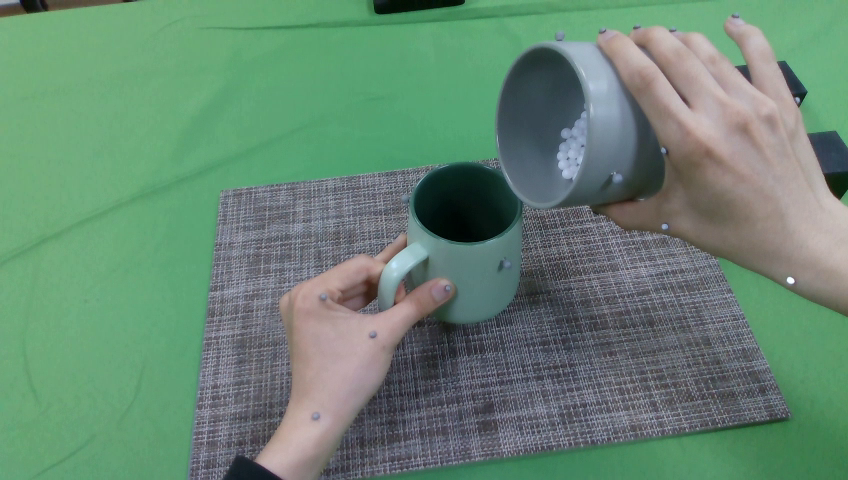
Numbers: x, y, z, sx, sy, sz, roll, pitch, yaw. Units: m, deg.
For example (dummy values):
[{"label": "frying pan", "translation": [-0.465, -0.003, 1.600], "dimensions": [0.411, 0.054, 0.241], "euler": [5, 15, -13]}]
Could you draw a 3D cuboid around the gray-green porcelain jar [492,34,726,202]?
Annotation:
[{"label": "gray-green porcelain jar", "translation": [0.127, -0.083, 0.411], "dimensions": [0.127, 0.106, 0.104], "euler": [-7, 52, -24]}]

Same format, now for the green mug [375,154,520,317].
[{"label": "green mug", "translation": [0.015, 0.008, 0.454], "dimensions": [0.125, 0.106, 0.091], "euler": [-36, 61, -23]}]
